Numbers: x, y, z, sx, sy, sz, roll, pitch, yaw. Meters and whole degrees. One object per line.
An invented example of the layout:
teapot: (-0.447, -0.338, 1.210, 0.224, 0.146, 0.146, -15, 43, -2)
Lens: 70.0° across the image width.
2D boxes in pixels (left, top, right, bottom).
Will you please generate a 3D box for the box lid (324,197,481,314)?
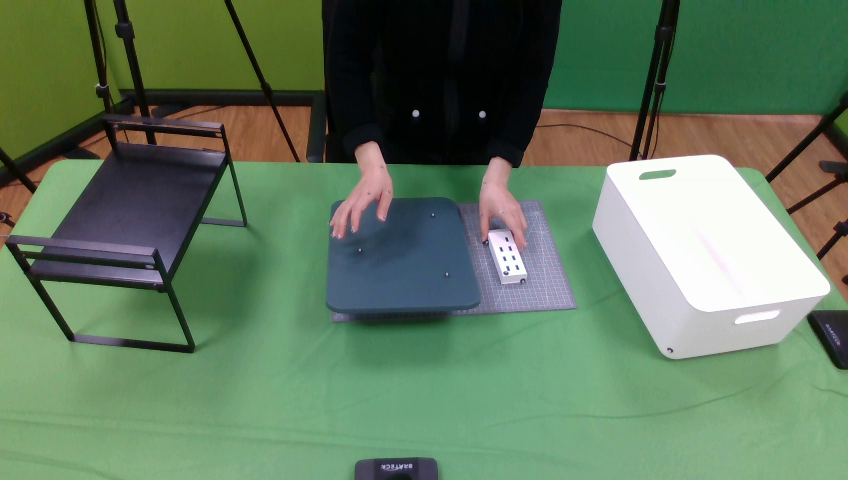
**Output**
box lid: (-0.048, 0.013, 1.131, 0.263, 0.015, 0.369, -1, 33, -6)

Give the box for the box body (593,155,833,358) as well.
box body: (0.497, 0.023, 1.112, 0.254, 0.161, 0.361, -7, 47, -10)

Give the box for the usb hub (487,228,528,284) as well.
usb hub: (0.159, 0.030, 1.174, 0.049, 0.025, 0.124, -6, 46, -8)
